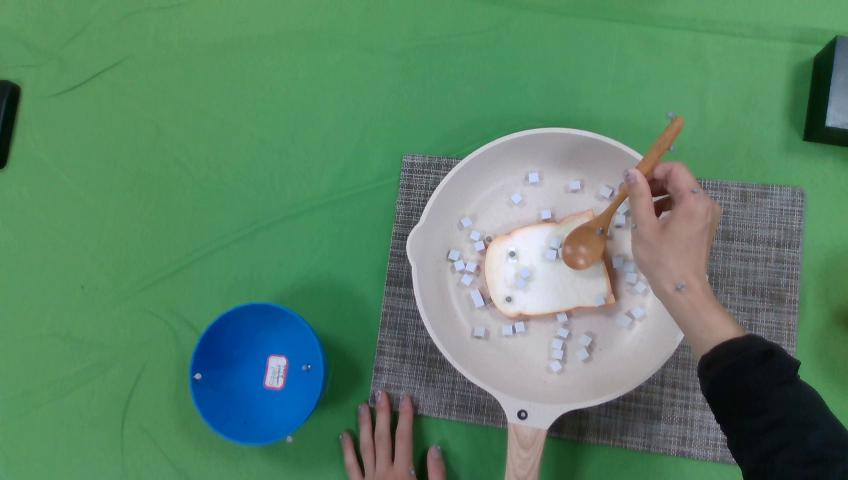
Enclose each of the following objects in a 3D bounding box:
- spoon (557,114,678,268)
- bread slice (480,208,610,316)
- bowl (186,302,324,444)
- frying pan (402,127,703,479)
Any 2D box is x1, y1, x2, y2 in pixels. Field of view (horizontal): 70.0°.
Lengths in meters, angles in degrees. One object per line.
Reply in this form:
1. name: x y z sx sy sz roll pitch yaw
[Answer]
1. spoon: 0.187 -0.042 0.592 0.041 0.195 0.021 42 45 16
2. bread slice: 0.131 0.033 0.677 0.134 0.018 0.106 -15 81 3
3. bowl: -0.177 0.146 0.681 0.151 0.077 0.151 -1 83 7
4. frying pan: 0.111 0.126 0.627 0.306 0.103 0.485 9 75 10
